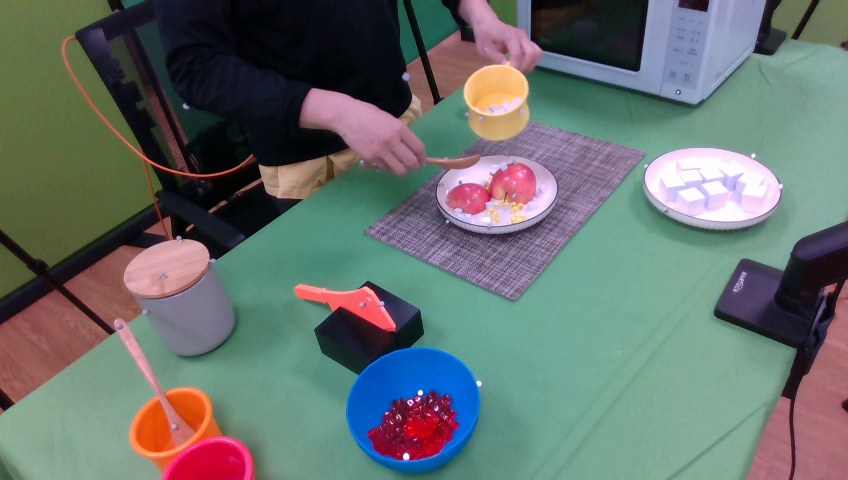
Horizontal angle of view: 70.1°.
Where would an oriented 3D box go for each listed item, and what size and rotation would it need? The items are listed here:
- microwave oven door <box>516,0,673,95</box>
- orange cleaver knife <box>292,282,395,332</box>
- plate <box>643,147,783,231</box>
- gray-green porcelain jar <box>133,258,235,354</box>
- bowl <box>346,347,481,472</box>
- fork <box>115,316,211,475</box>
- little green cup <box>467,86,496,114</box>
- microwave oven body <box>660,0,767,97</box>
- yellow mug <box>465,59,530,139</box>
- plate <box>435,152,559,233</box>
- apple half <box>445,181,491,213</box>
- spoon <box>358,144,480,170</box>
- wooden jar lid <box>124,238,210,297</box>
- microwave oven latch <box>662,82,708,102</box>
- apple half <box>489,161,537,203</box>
[{"bbox_3d":[0.344,-0.458,1.257,0.353,0.245,0.039,26,51,33],"label":"microwave oven door"},{"bbox_3d":[-0.116,0.091,0.835,0.209,0.077,0.012,2,32,48],"label":"orange cleaver knife"},{"bbox_3d":[0.464,-0.080,0.986,0.207,0.039,0.206,-4,41,4],"label":"plate"},{"bbox_3d":[-0.327,0.086,0.836,0.106,0.127,0.105,-4,41,4],"label":"gray-green porcelain jar"},{"bbox_3d":[-0.008,0.205,0.691,0.151,0.077,0.150,-4,40,4],"label":"bowl"},{"bbox_3d":[-0.308,0.179,0.708,0.028,0.018,0.207,-30,89,-22],"label":"fork"},{"bbox_3d":[0.123,-0.296,1.285,0.061,0.039,0.061,-5,41,5],"label":"little green cup"},{"bbox_3d":[0.474,-0.517,1.313,0.438,0.261,0.327,26,51,34],"label":"microwave oven body"},{"bbox_3d":[0.123,-0.233,0.963,0.099,0.064,0.130,16,67,17],"label":"yellow mug"},{"bbox_3d":[0.124,-0.078,1.026,0.209,0.038,0.208,-4,41,4],"label":"plate"},{"bbox_3d":[0.077,-0.083,1.029,0.081,0.033,0.081,-2,42,2],"label":"apple half"},{"bbox_3d":[-0.004,-0.121,0.916,0.194,0.042,0.021,-6,48,-14],"label":"spoon"},{"bbox_3d":[-0.335,0.039,0.794,0.108,0.021,0.108,-2,40,2],"label":"wooden jar lid"},{"bbox_3d":[0.517,-0.298,1.202,0.078,0.029,0.030,27,52,34],"label":"microwave oven latch"},{"bbox_3d":[0.154,-0.106,1.030,0.080,0.053,0.075,22,46,31],"label":"apple half"}]
